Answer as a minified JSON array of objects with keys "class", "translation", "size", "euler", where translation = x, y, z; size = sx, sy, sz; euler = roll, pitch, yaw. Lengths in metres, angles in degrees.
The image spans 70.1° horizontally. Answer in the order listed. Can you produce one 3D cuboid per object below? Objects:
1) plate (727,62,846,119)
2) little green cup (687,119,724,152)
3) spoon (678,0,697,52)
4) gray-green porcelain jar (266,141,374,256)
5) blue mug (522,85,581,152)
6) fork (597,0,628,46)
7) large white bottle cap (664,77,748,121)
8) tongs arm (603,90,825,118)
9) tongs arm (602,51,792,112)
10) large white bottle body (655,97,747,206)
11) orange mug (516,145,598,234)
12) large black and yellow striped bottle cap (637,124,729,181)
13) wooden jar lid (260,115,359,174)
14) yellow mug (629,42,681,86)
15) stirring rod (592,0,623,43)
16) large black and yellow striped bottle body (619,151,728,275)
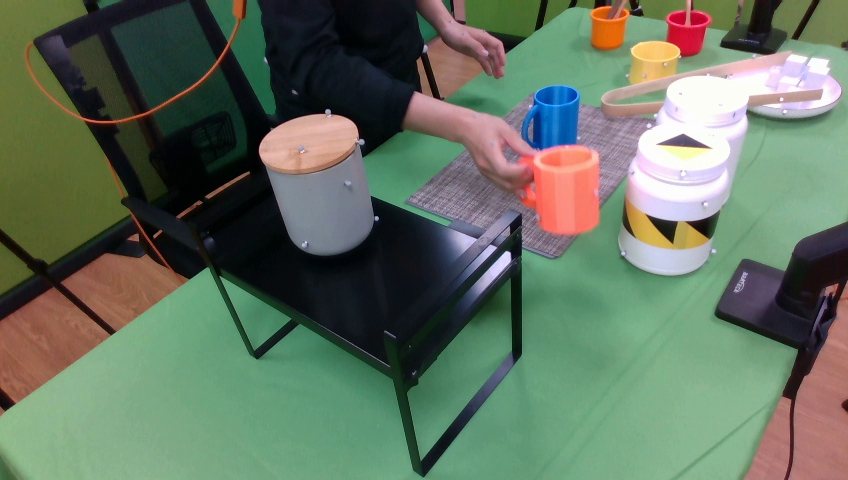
[{"class":"plate","translation":[0.709,-0.292,1.197],"size":[0.207,0.039,0.206],"euler":[-4,40,4]},{"class":"little green cup","translation":[0.514,-0.191,1.109],"size":[0.061,0.039,0.061],"euler":[-5,40,5]},{"class":"spoon","translation":[0.614,-0.526,1.402],"size":[0.041,0.022,0.193],"euler":[3,86,11]},{"class":"gray-green porcelain jar","translation":[-0.117,-0.054,0.703],"size":[0.106,0.127,0.105],"euler":[-4,40,4]},{"class":"blue mug","translation":[0.233,-0.218,1.127],"size":[0.117,0.106,0.081],"euler":[-23,43,-16]},{"class":"fork","translation":[0.479,-0.558,1.455],"size":[0.028,0.019,0.207],"euler":[35,100,38]},{"class":"large white bottle cap","translation":[0.421,-0.212,0.905],"size":[0.115,0.018,0.114],"euler":[-4,40,4]},{"class":"tongs arm","translation":[0.546,-0.262,1.163],"size":[0.386,0.028,0.028],"euler":[-1,49,18]},{"class":"tongs arm","translation":[0.552,-0.320,1.224],"size":[0.384,0.027,0.050],"euler":[-10,43,7]},{"class":"large white bottle body","translation":[0.431,-0.148,0.959],"size":[0.130,0.185,0.130],"euler":[-4,41,4]},{"class":"orange mug","translation":[0.184,-0.076,0.844],"size":[0.125,0.101,0.084],"euler":[23,42,38]},{"class":"large black and yellow striped bottle cap","translation":[0.346,-0.119,0.810],"size":[0.115,0.019,0.114],"euler":[-5,41,5]},{"class":"wooden jar lid","translation":[-0.124,-0.101,0.662],"size":[0.108,0.021,0.108],"euler":[-4,41,4]},{"class":"yellow mug","translation":[0.495,-0.389,1.321],"size":[0.100,0.064,0.130],"euler":[-14,40,-6]},{"class":"stirring rod","translation":[0.460,-0.557,1.461],"size":[0.014,0.176,0.006],"euler":[35,11,22]},{"class":"large black and yellow striped bottle body","translation":[0.354,-0.056,0.865],"size":[0.131,0.185,0.130],"euler":[-4,41,4]}]
